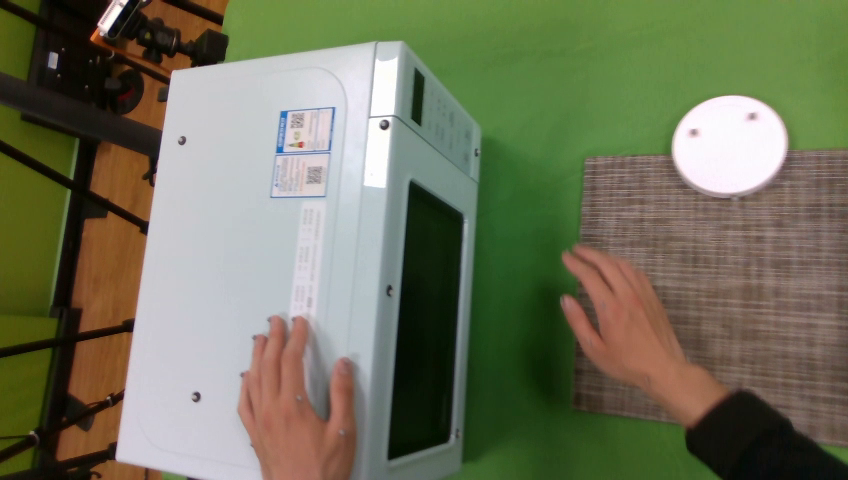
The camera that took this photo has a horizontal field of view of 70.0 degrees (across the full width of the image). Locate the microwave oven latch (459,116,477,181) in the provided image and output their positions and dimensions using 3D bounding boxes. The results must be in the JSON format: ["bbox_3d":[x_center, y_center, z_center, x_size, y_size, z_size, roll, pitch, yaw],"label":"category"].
[{"bbox_3d":[0.052,-0.116,0.774,0.030,0.030,0.079,0,81,24],"label":"microwave oven latch"}]

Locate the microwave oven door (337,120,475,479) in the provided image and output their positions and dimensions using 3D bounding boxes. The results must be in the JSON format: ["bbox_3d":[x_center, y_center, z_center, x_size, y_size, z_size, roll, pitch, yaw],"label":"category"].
[{"bbox_3d":[-0.009,0.081,0.650,0.039,0.246,0.354,0,80,25],"label":"microwave oven door"}]

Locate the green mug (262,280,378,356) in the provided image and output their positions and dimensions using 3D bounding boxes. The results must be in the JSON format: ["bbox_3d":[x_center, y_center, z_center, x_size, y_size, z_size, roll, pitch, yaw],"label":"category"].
[{"bbox_3d":[-0.116,0.090,0.727,0.125,0.106,0.092,-13,76,17],"label":"green mug"}]

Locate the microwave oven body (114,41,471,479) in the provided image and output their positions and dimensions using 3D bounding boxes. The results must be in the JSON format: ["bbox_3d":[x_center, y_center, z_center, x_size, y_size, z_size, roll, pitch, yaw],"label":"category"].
[{"bbox_3d":[-0.137,0.040,0.721,0.324,0.262,0.440,0,81,24],"label":"microwave oven body"}]

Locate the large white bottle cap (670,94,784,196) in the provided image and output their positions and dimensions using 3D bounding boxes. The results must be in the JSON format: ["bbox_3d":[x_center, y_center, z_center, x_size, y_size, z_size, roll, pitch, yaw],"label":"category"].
[{"bbox_3d":[0.334,-0.105,0.672,0.114,0.018,0.114,-5,77,23],"label":"large white bottle cap"}]
